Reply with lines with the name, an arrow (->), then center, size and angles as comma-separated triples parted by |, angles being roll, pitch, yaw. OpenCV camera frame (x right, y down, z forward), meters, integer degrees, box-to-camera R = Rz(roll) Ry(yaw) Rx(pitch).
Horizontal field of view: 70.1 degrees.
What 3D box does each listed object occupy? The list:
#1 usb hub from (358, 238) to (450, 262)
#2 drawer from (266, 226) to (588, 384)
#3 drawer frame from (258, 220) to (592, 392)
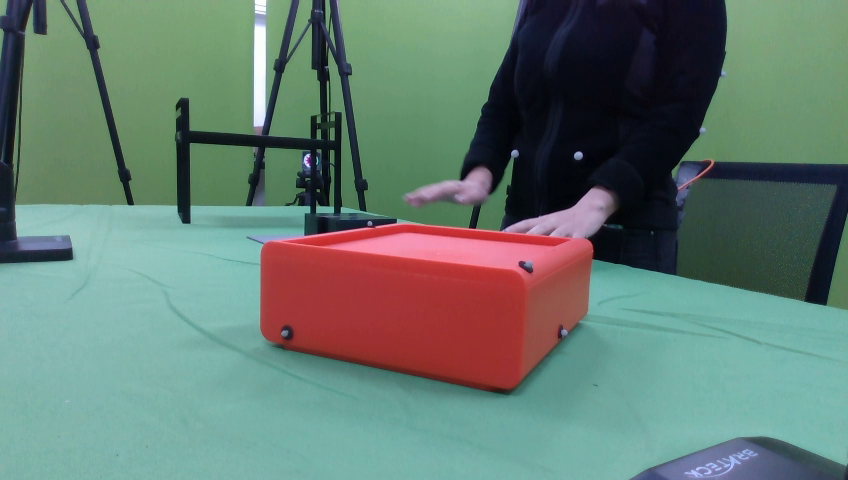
usb hub -> -0.027, 0.013, 0.856 | 0.126, 0.025, 0.049 | -2, 8, -34
drawer -> 0.015, 0.039, 0.493 | 0.194, 0.073, 0.212 | 6, 10, 25
drawer frame -> 0.015, 0.036, 0.491 | 0.201, 0.082, 0.214 | 6, 9, 24
